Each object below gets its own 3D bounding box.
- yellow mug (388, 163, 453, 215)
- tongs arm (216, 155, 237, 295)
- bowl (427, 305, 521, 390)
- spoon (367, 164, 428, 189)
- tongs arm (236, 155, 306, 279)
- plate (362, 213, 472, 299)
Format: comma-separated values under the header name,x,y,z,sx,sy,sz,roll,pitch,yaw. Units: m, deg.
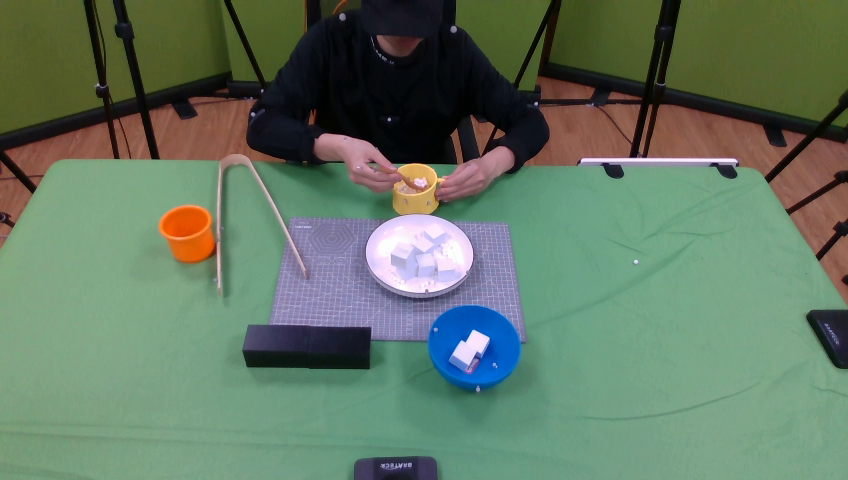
name,x,y,z,sx,sy,sz,roll,pitch,yaw
yellow mug,-0.006,-0.105,1.258,0.131,0.064,0.099,-4,47,1
tongs arm,-0.388,-0.043,1.201,0.051,0.026,0.382,-9,46,-13
bowl,0.076,0.188,0.985,0.151,0.077,0.150,3,46,-3
spoon,-0.052,-0.126,1.191,0.041,0.021,0.194,25,4,32
tongs arm,-0.312,-0.058,1.225,0.028,0.028,0.385,-21,50,-19
plate,-0.013,0.034,1.150,0.208,0.039,0.206,2,46,-2
